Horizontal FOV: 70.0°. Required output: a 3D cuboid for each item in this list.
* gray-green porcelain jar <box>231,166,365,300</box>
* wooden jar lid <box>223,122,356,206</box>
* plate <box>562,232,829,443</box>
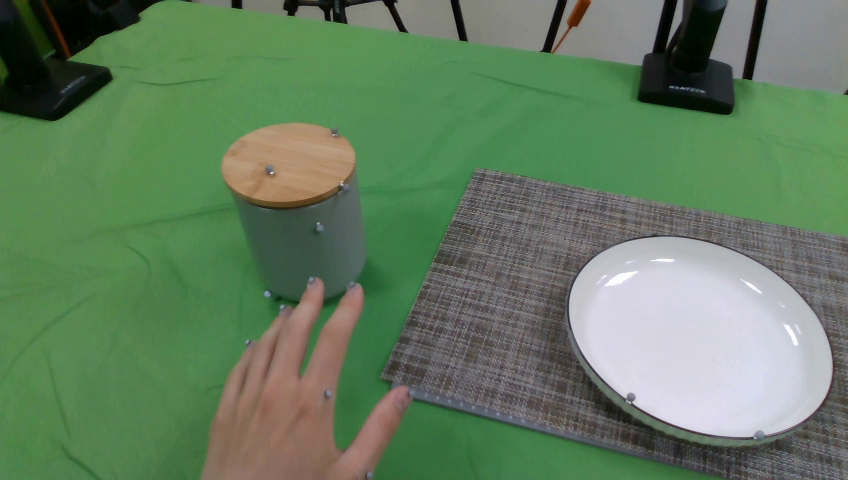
[{"bbox_3d":[-0.109,-0.016,0.551,0.106,0.127,0.105,0,45,0],"label":"gray-green porcelain jar"},{"bbox_3d":[-0.111,-0.061,0.505,0.108,0.021,0.107,2,44,-2],"label":"wooden jar lid"},{"bbox_3d":[0.219,0.078,0.510,0.208,0.039,0.205,0,45,1],"label":"plate"}]
